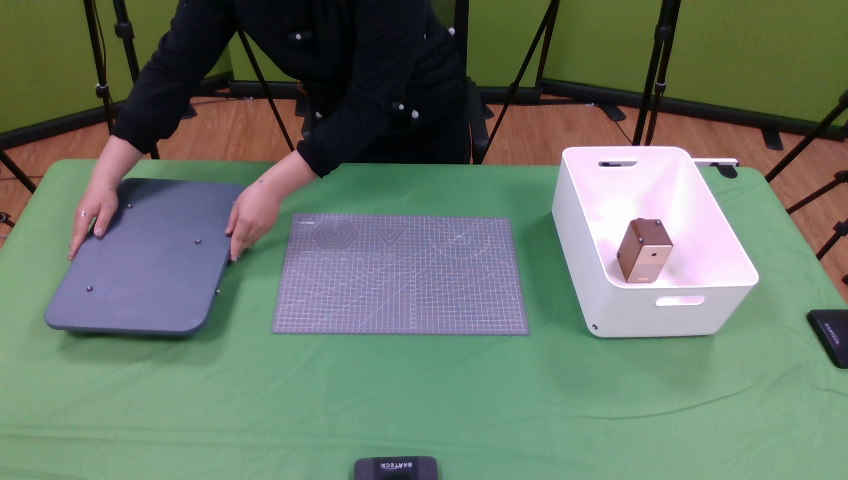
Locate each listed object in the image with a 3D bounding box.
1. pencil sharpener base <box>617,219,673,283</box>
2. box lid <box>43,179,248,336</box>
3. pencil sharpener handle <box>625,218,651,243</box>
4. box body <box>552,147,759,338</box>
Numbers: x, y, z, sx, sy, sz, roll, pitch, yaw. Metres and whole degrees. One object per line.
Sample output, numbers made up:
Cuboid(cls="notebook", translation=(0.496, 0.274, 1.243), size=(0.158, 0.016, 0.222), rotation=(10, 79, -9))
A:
Cuboid(cls="pencil sharpener base", translation=(0.412, 0.020, 1.140), size=(0.061, 0.107, 0.076), rotation=(-1, 45, -4))
Cuboid(cls="box lid", translation=(-0.484, 0.017, 1.093), size=(0.263, 0.015, 0.369), rotation=(2, 46, -2))
Cuboid(cls="pencil sharpener handle", translation=(0.407, -0.025, 1.167), size=(0.036, 0.068, 0.030), rotation=(6, 44, -11))
Cuboid(cls="box body", translation=(0.400, -0.001, 1.131), size=(0.254, 0.161, 0.361), rotation=(-1, 46, -5))
